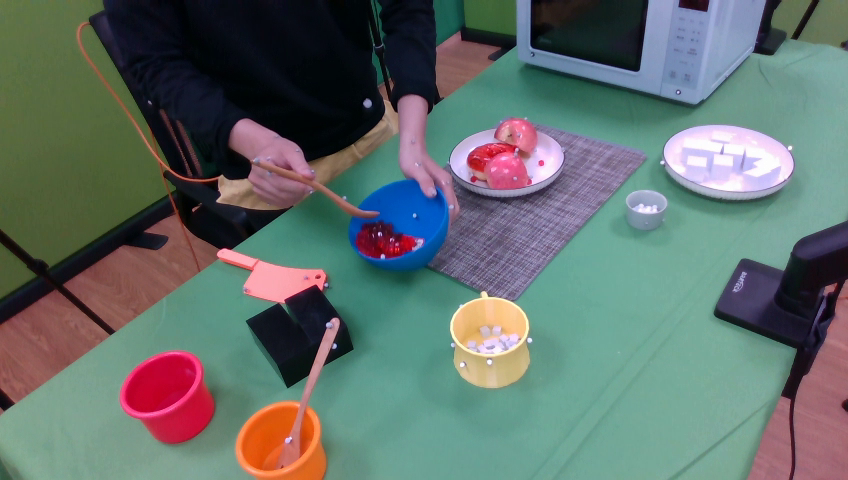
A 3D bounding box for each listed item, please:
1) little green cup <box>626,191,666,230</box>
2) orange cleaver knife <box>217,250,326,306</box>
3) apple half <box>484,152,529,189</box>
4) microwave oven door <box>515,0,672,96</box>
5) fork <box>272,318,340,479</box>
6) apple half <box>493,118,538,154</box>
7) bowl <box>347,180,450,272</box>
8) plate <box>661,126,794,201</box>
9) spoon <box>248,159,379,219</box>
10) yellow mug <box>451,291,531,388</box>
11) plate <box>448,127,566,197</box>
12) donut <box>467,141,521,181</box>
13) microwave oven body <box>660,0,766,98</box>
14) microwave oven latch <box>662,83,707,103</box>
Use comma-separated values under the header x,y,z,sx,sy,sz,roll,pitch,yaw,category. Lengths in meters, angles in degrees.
x,y,z,sx,sy,sz,roll,pitch,yaw,category
0.352,-0.046,0.963,0.061,0.039,0.061,-4,40,4,little green cup
-0.248,0.058,0.945,0.210,0.012,0.077,13,49,20,orange cleaver knife
0.144,-0.116,1.031,0.081,0.033,0.081,3,77,-11,apple half
0.344,-0.455,1.259,0.353,0.245,0.039,26,51,33,microwave oven door
-0.131,0.186,0.676,0.028,0.019,0.207,17,90,28,fork
0.175,-0.196,1.114,0.080,0.053,0.075,29,12,34,apple half
-0.026,-0.006,0.875,0.151,0.077,0.150,-12,48,14,bowl
0.513,-0.128,1.035,0.207,0.039,0.206,-4,40,4,plate
-0.140,-0.066,0.792,0.041,0.195,0.021,15,80,55,spoon
0.085,0.120,0.786,0.100,0.064,0.130,-7,39,1,yellow mug
0.150,-0.138,1.097,0.209,0.038,0.208,-4,40,4,plate
0.126,-0.145,1.091,0.099,0.048,0.098,-5,40,5,donut
0.472,-0.514,1.317,0.438,0.261,0.327,26,51,34,microwave oven body
0.518,-0.296,1.205,0.078,0.029,0.030,27,52,35,microwave oven latch
